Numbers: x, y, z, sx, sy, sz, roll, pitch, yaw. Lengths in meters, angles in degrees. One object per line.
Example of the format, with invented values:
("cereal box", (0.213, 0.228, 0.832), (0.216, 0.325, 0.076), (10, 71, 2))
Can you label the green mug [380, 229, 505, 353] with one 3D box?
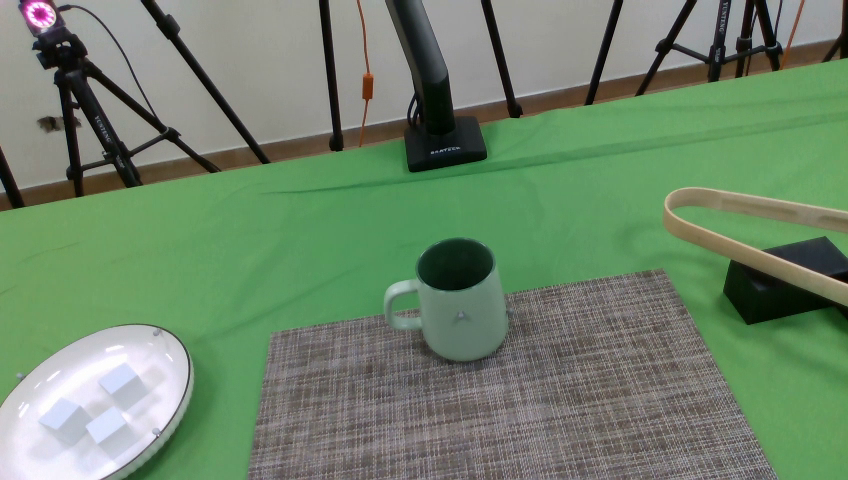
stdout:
("green mug", (0.018, 0.056, 0.616), (0.125, 0.106, 0.091), (-10, 42, 1))

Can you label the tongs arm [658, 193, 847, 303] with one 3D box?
("tongs arm", (0.384, 0.040, 0.547), (0.383, 0.028, 0.028), (29, 63, 36))

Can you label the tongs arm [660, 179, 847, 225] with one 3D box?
("tongs arm", (0.431, -0.009, 0.587), (0.382, 0.027, 0.050), (18, 53, 29))

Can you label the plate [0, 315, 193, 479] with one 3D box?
("plate", (-0.339, 0.168, 0.628), (0.209, 0.038, 0.207), (-6, 41, 6))
